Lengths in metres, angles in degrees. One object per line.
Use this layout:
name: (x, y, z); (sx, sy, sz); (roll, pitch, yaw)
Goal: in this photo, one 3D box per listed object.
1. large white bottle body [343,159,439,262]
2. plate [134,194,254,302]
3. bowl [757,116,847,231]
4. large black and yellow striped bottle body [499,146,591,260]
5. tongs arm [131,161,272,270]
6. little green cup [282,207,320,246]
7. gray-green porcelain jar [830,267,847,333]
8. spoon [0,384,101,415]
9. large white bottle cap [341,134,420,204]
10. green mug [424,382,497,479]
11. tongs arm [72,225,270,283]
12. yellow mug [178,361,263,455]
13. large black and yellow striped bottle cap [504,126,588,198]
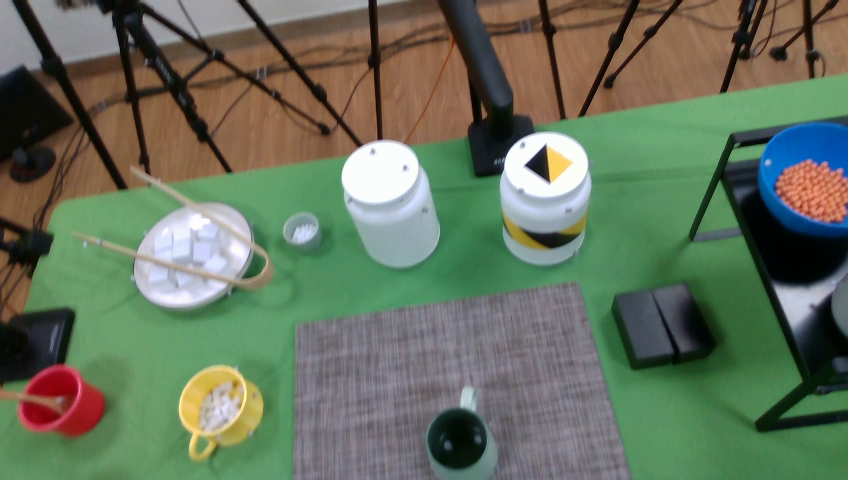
large white bottle body: (-0.051, -0.062, 0.946); (0.130, 0.186, 0.129); (-4, 59, 7)
plate: (-0.389, 0.016, 1.040); (0.207, 0.039, 0.206); (-4, 60, 7)
bowl: (0.467, -0.065, 0.720); (0.151, 0.077, 0.150); (-3, 60, 6)
large black and yellow striped bottle body: (0.181, -0.066, 0.914); (0.130, 0.186, 0.129); (-4, 59, 7)
tongs arm: (-0.391, -0.053, 1.045); (0.384, 0.028, 0.028); (30, 62, 25)
little green cup: (-0.207, -0.021, 1.032); (0.061, 0.039, 0.061); (-3, 61, 6)
gray-green porcelain jar: (0.493, 0.050, 0.621); (0.106, 0.128, 0.105); (-4, 59, 7)
spoon: (-0.581, 0.224, 0.886); (0.195, 0.021, 0.041); (21, 53, -30)
large white bottle cap: (-0.063, -0.104, 0.873); (0.115, 0.018, 0.114); (-4, 60, 7)
green mug: (0.050, 0.249, 0.792); (0.092, 0.106, 0.124); (6, 61, 13)
tongs arm: (-0.430, 0.012, 1.011); (0.383, 0.027, 0.050); (16, 60, 19)
yellow mug: (-0.300, 0.247, 0.875); (0.099, 0.064, 0.130); (14, 64, 15)
large black and yellow striped bottle cap: (0.168, -0.110, 0.843); (0.115, 0.019, 0.114); (-3, 60, 6)
